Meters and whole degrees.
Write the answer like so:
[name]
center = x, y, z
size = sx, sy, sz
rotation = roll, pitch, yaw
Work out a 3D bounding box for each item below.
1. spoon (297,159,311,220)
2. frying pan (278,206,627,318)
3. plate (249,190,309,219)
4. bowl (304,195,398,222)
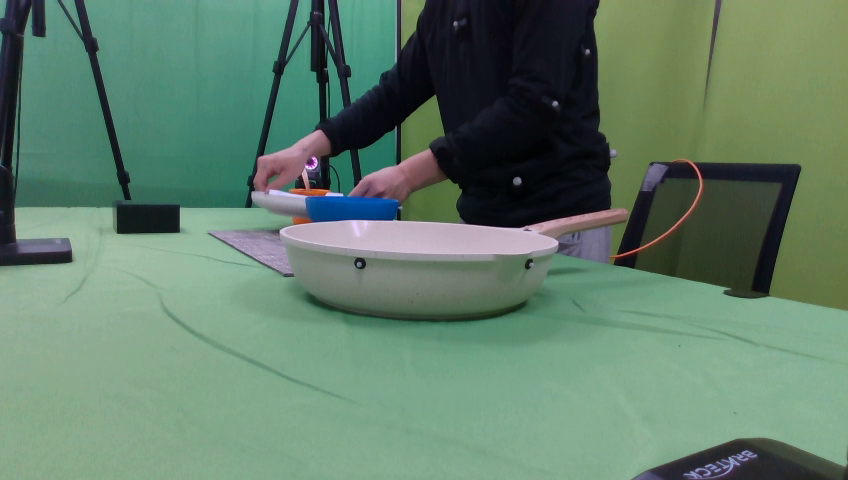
[spoon]
center = -0.260, -0.114, 1.340
size = 0.042, 0.193, 0.021
rotation = 0, -37, -25
[frying pan]
center = 0.079, 0.002, 0.705
size = 0.490, 0.102, 0.305
rotation = -12, 15, -33
[plate]
center = -0.224, -0.064, 1.142
size = 0.208, 0.039, 0.207
rotation = 7, 5, 0
[bowl]
center = -0.118, -0.030, 0.973
size = 0.151, 0.077, 0.151
rotation = 2, 7, 0
